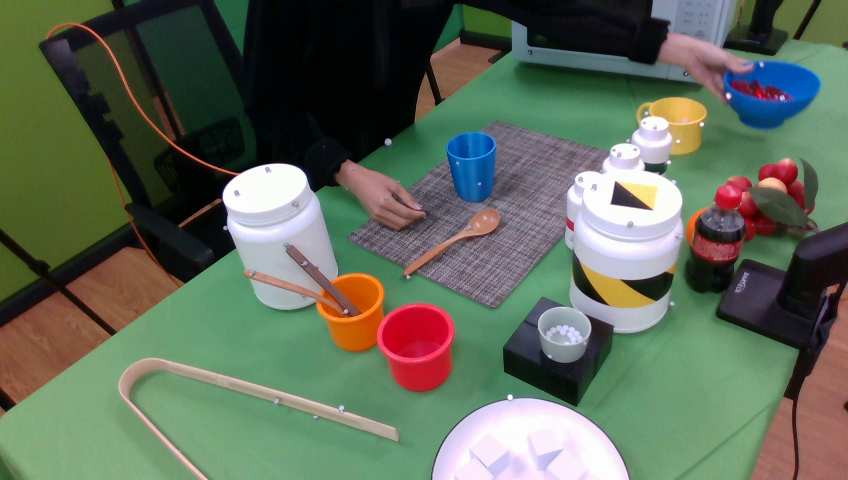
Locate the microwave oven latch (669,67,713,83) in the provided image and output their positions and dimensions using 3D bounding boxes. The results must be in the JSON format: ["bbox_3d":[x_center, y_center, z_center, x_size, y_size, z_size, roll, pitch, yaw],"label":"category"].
[{"bbox_3d":[0.556,-0.349,1.261,0.078,0.029,0.030,16,46,27],"label":"microwave oven latch"}]

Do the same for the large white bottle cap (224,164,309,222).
[{"bbox_3d":[-0.216,-0.066,0.829,0.115,0.018,0.114,-4,40,4],"label":"large white bottle cap"}]

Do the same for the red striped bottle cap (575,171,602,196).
[{"bbox_3d":[0.242,-0.081,0.876,0.044,0.018,0.044,-5,44,5],"label":"red striped bottle cap"}]

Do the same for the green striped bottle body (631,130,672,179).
[{"bbox_3d":[0.375,-0.140,1.007,0.063,0.120,0.063,-5,40,5],"label":"green striped bottle body"}]

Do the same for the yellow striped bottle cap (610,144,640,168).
[{"bbox_3d":[0.307,-0.128,0.923,0.044,0.019,0.044,-5,39,5],"label":"yellow striped bottle cap"}]

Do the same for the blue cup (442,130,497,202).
[{"bbox_3d":[0.085,-0.122,1.039,0.092,0.100,0.092,-4,43,5],"label":"blue cup"}]

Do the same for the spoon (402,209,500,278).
[{"bbox_3d":[0.043,0.005,0.957,0.194,0.021,0.041,-30,67,-24],"label":"spoon"}]

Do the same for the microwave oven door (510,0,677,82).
[{"bbox_3d":[0.352,-0.476,1.289,0.353,0.245,0.039,15,44,25],"label":"microwave oven door"}]

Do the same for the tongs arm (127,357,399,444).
[{"bbox_3d":[-0.213,0.205,0.755,0.382,0.026,0.051,12,46,23],"label":"tongs arm"}]

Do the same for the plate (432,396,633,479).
[{"bbox_3d":[0.112,0.261,0.634,0.209,0.038,0.208,-5,40,4],"label":"plate"}]

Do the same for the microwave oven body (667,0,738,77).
[{"bbox_3d":[0.462,-0.552,1.368,0.439,0.261,0.326,15,45,26],"label":"microwave oven body"}]

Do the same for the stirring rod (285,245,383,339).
[{"bbox_3d":[-0.121,0.071,0.819,0.176,0.006,0.014,44,52,-6],"label":"stirring rod"}]

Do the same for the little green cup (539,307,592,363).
[{"bbox_3d":[0.169,0.115,0.721,0.061,0.039,0.061,-4,42,4],"label":"little green cup"}]

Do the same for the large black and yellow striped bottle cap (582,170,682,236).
[{"bbox_3d":[0.252,-0.048,0.735,0.115,0.019,0.114,-3,40,3],"label":"large black and yellow striped bottle cap"}]

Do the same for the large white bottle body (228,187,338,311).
[{"bbox_3d":[-0.207,-0.002,0.883,0.130,0.185,0.130,-4,40,4],"label":"large white bottle body"}]

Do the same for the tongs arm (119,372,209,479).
[{"bbox_3d":[-0.258,0.257,0.700,0.384,0.028,0.028,24,55,34],"label":"tongs arm"}]

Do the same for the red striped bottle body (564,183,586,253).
[{"bbox_3d":[0.246,-0.041,0.910,0.063,0.120,0.062,-2,38,2],"label":"red striped bottle body"}]

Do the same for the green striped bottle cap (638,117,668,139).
[{"bbox_3d":[0.369,-0.180,0.974,0.044,0.020,0.044,-4,41,4],"label":"green striped bottle cap"}]

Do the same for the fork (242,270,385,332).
[{"bbox_3d":[-0.142,0.082,0.802,0.209,0.018,0.028,28,39,-26],"label":"fork"}]

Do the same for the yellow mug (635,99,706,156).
[{"bbox_3d":[0.452,-0.217,1.129,0.100,0.064,0.129,-33,46,-28],"label":"yellow mug"}]

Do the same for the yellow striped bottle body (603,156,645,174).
[{"bbox_3d":[0.313,-0.089,0.956,0.063,0.121,0.062,-4,39,4],"label":"yellow striped bottle body"}]

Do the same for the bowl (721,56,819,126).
[{"bbox_3d":[0.591,-0.251,1.050,0.151,0.077,0.150,-6,40,5],"label":"bowl"}]

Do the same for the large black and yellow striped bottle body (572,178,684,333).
[{"bbox_3d":[0.263,0.017,0.788,0.131,0.185,0.130,-5,40,4],"label":"large black and yellow striped bottle body"}]
